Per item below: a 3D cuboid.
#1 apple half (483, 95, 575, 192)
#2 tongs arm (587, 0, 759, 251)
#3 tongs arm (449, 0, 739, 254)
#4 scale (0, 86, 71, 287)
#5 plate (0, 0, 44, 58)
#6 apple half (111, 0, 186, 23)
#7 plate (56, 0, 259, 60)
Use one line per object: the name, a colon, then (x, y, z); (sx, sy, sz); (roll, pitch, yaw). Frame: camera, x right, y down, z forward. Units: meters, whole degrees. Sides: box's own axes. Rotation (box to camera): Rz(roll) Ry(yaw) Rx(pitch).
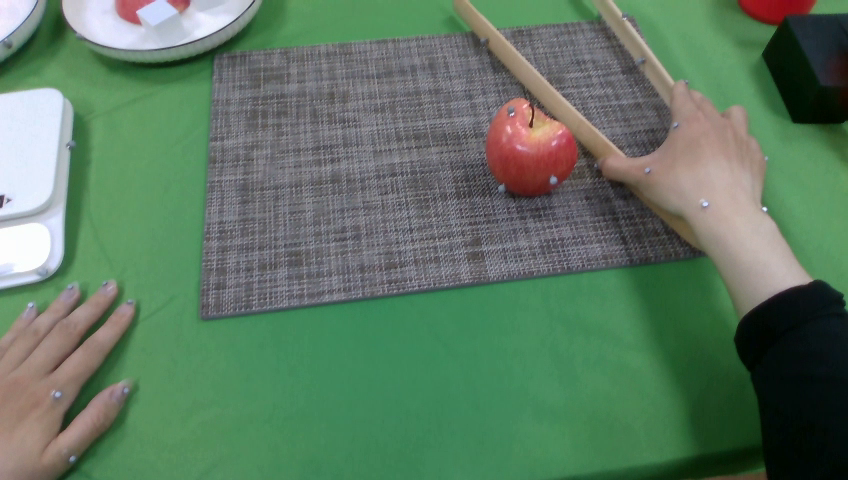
apple half: (0.080, -0.074, 0.514); (0.080, 0.075, 0.053); (41, 70, 18)
tongs arm: (0.209, -0.157, 0.592); (0.051, 0.027, 0.381); (-17, 61, -12)
tongs arm: (0.137, -0.127, 0.574); (0.028, 0.028, 0.384); (-27, 63, -21)
scale: (-0.385, -0.045, 0.518); (0.149, 0.032, 0.199); (-11, 60, -8)
plate: (-0.498, -0.230, 0.626); (0.208, 0.039, 0.205); (0, 59, 0)
apple half: (-0.297, -0.268, 0.645); (0.081, 0.033, 0.080); (-1, 56, 2)
plate: (-0.275, -0.261, 0.648); (0.209, 0.038, 0.207); (1, 58, 0)
